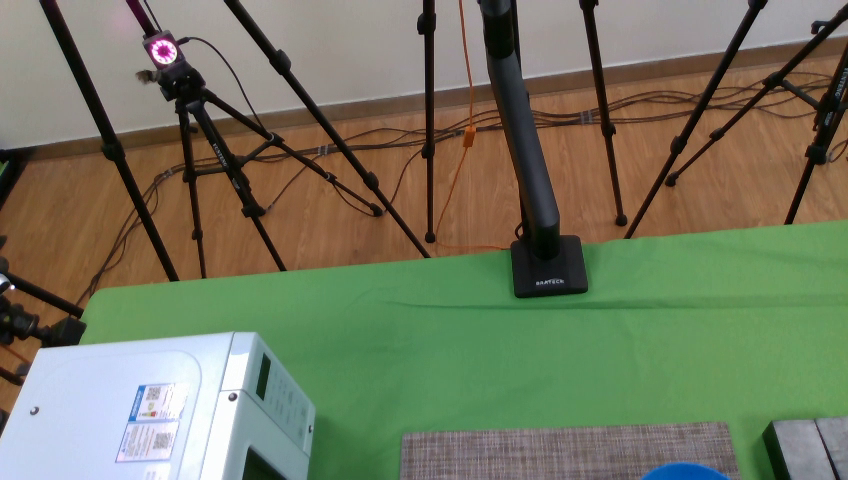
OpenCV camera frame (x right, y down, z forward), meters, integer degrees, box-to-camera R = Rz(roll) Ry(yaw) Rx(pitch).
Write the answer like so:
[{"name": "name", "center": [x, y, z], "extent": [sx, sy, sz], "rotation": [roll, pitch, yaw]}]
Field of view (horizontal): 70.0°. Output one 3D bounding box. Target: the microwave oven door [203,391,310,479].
[{"name": "microwave oven door", "center": [-0.201, 0.382, 0.680], "extent": [0.039, 0.246, 0.352], "rotation": [-7, 52, 8]}]

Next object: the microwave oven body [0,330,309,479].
[{"name": "microwave oven body", "center": [-0.344, 0.368, 0.730], "extent": [0.326, 0.263, 0.437], "rotation": [-6, 53, 8]}]

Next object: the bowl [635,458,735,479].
[{"name": "bowl", "center": [0.312, 0.345, 0.716], "extent": [0.151, 0.077, 0.150], "rotation": [-6, 52, 8]}]

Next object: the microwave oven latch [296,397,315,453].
[{"name": "microwave oven latch", "center": [-0.180, 0.272, 0.892], "extent": [0.030, 0.030, 0.078], "rotation": [-5, 53, 8]}]
